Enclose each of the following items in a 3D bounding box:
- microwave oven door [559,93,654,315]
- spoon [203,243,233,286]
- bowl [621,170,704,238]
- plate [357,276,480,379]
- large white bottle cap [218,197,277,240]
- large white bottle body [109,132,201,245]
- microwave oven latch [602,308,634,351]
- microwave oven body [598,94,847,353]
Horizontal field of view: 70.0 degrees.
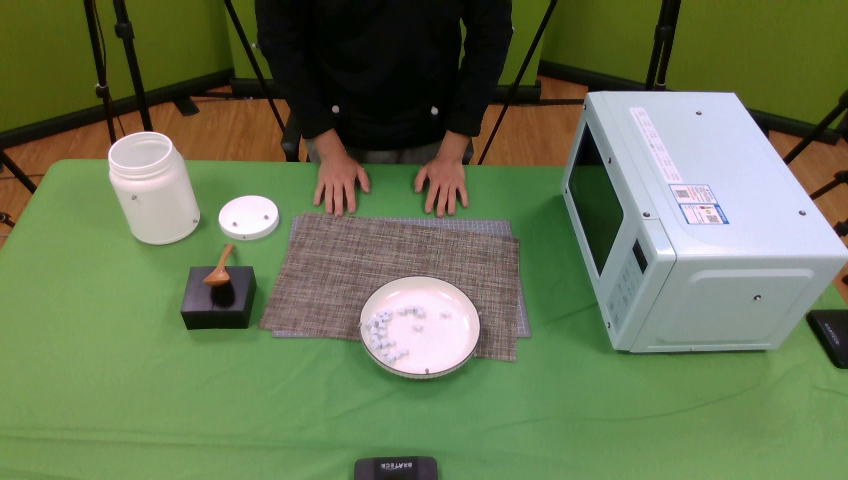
[{"bbox_3d":[0.327,-0.074,1.123,0.039,0.245,0.353,-1,46,-5],"label":"microwave oven door"},{"bbox_3d":[-0.360,0.039,1.087,0.041,0.022,0.192,-5,24,-7],"label":"spoon"},{"bbox_3d":[0.446,-0.057,1.166,0.151,0.077,0.150,2,46,-2],"label":"bowl"},{"bbox_3d":[-0.010,0.151,1.038,0.209,0.038,0.208,2,47,-2],"label":"plate"},{"bbox_3d":[-0.354,-0.045,1.220,0.115,0.018,0.114,2,45,-2],"label":"large white bottle cap"},{"bbox_3d":[-0.506,-0.097,1.141,0.131,0.185,0.130,2,46,-2],"label":"large white bottle body"},{"bbox_3d":[0.332,0.153,1.044,0.030,0.029,0.078,-1,45,-4],"label":"microwave oven latch"},{"bbox_3d":[0.475,-0.041,1.109,0.326,0.261,0.438,-1,45,-4],"label":"microwave oven body"}]
